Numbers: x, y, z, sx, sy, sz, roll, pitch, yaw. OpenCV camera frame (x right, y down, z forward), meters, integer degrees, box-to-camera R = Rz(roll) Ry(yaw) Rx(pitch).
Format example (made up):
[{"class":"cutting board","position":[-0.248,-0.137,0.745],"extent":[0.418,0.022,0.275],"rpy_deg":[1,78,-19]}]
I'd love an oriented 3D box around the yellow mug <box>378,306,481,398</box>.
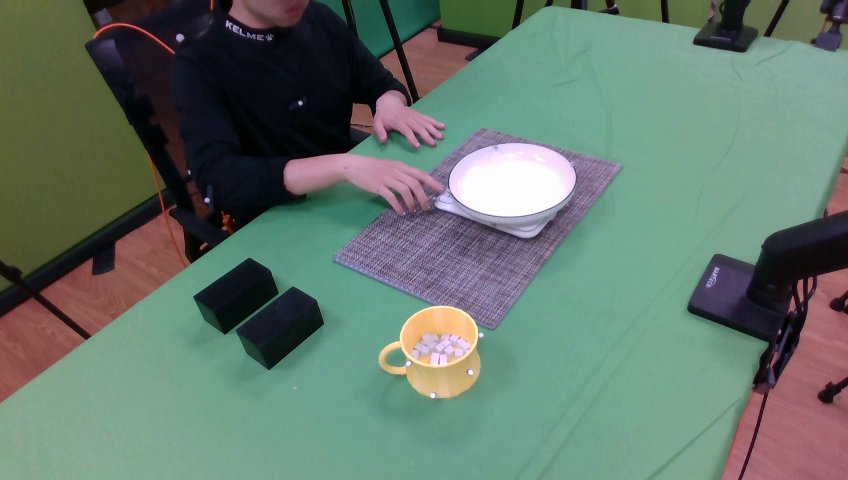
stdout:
[{"class":"yellow mug","position":[0.006,0.144,0.766],"extent":[0.131,0.064,0.099],"rpy_deg":[-10,40,-2]}]

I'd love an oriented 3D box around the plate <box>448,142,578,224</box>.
[{"class":"plate","position":[0.145,-0.089,0.989],"extent":[0.209,0.038,0.208],"rpy_deg":[-4,41,4]}]

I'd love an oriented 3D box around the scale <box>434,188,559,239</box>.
[{"class":"scale","position":[0.132,-0.074,1.024],"extent":[0.199,0.032,0.149],"rpy_deg":[22,48,30]}]
